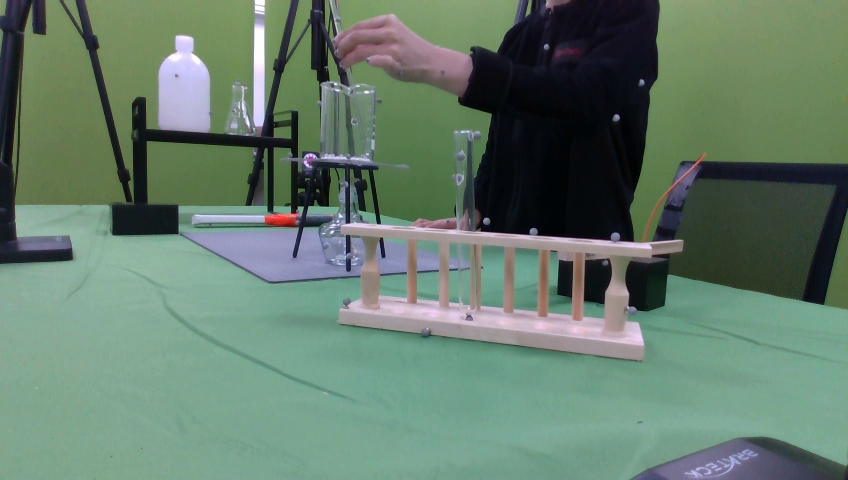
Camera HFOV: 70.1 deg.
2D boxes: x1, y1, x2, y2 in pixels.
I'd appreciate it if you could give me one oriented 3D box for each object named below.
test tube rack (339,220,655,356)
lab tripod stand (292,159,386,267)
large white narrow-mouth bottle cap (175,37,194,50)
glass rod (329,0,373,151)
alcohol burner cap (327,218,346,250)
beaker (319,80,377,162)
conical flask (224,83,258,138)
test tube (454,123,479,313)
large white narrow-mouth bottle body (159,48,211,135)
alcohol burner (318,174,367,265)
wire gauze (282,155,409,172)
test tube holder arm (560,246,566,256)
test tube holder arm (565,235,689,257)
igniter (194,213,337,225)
[{"bbox_3d":[0.056,0.032,0.495,0.242,0.085,0.067,4,7,15],"label":"test tube rack"},{"bbox_3d":[-0.105,-0.039,0.797,0.148,0.131,0.148,2,5,0],"label":"lab tripod stand"},{"bbox_3d":[-0.501,-0.410,1.264,0.038,0.024,0.037,2,7,0],"label":"large white narrow-mouth bottle cap"},{"bbox_3d":[-0.092,-0.211,0.771,0.008,0.200,0.008,-13,15,4],"label":"glass rod"},{"bbox_3d":[-0.132,-0.010,0.927,0.034,0.048,0.034,3,8,0],"label":"alcohol burner cap"},{"bbox_3d":[-0.098,-0.151,0.777,0.074,0.100,0.084,1,7,-7],"label":"beaker"},{"bbox_3d":[-0.422,-0.299,1.395,0.075,0.122,0.075,2,7,0],"label":"conical flask"},{"bbox_3d":[0.034,-0.016,0.476,0.017,0.150,0.017,-2,9,1],"label":"test tube"},{"bbox_3d":[-0.503,-0.322,1.275,0.102,0.194,0.102,2,7,0],"label":"large white narrow-mouth bottle body"},{"bbox_3d":[-0.100,-0.028,0.790,0.078,0.119,0.078,0,6,0],"label":"alcohol burner"},{"bbox_3d":[-0.104,-0.103,0.785,0.126,0.011,0.121,1,8,-39],"label":"wire gauze"},{"bbox_3d":[0.173,0.007,0.611,0.088,0.015,0.010,-3,11,-29],"label":"test tube holder arm"},{"bbox_3d":[0.216,0.006,0.629,0.179,0.015,0.013,-3,11,-30],"label":"test tube holder arm"},{"bbox_3d":[-0.306,-0.042,1.196,0.278,0.025,0.057,-2,-2,-31],"label":"igniter"}]
